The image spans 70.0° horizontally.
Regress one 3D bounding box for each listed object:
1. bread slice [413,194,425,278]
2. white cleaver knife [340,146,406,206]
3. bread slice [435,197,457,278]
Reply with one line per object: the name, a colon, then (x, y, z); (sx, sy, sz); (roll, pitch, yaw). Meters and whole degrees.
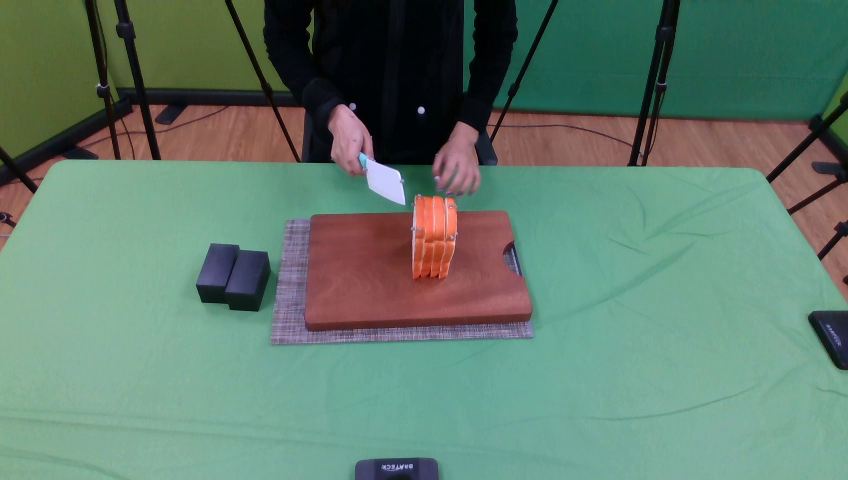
bread slice: (-0.010, -0.015, 1.095); (0.018, 0.135, 0.106); (0, 43, -3)
white cleaver knife: (-0.094, -0.115, 1.049); (0.021, 0.066, 0.285); (-13, 22, -21)
bread slice: (0.040, -0.010, 1.097); (0.019, 0.132, 0.104); (4, 48, -7)
